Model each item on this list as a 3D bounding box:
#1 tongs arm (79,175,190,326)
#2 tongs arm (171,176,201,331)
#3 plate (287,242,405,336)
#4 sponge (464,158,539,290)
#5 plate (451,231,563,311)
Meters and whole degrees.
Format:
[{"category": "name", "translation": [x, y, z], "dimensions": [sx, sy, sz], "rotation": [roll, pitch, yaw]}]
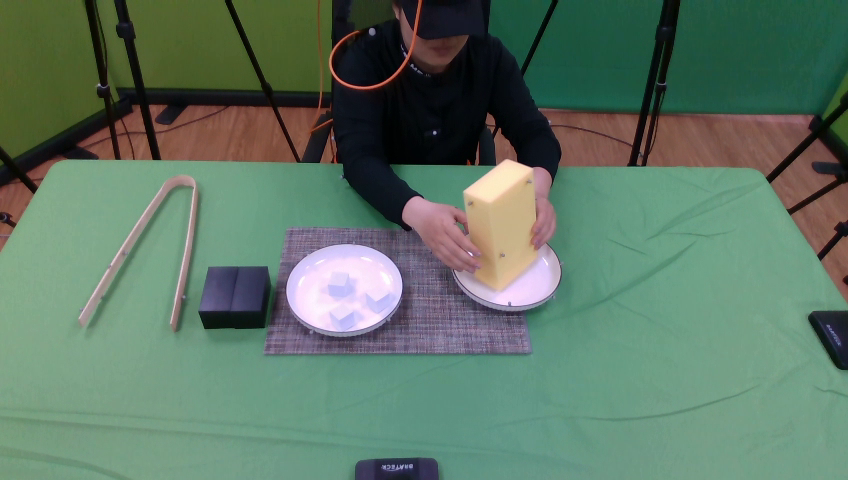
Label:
[{"category": "tongs arm", "translation": [-0.534, 0.005, 1.145], "dimensions": [0.051, 0.026, 0.382], "rotation": [6, 45, 1]}, {"category": "tongs arm", "translation": [-0.453, 0.010, 1.151], "dimensions": [0.028, 0.028, 0.385], "rotation": [-6, 47, -6]}, {"category": "plate", "translation": [-0.138, 0.090, 1.085], "dimensions": [0.208, 0.039, 0.206], "rotation": [2, 46, -2]}, {"category": "sponge", "translation": [0.142, -0.026, 1.078], "dimensions": [0.060, 0.208, 0.118], "rotation": [28, 55, 38]}, {"category": "plate", "translation": [0.154, 0.054, 1.140], "dimensions": [0.209, 0.038, 0.208], "rotation": [2, 47, -2]}]
